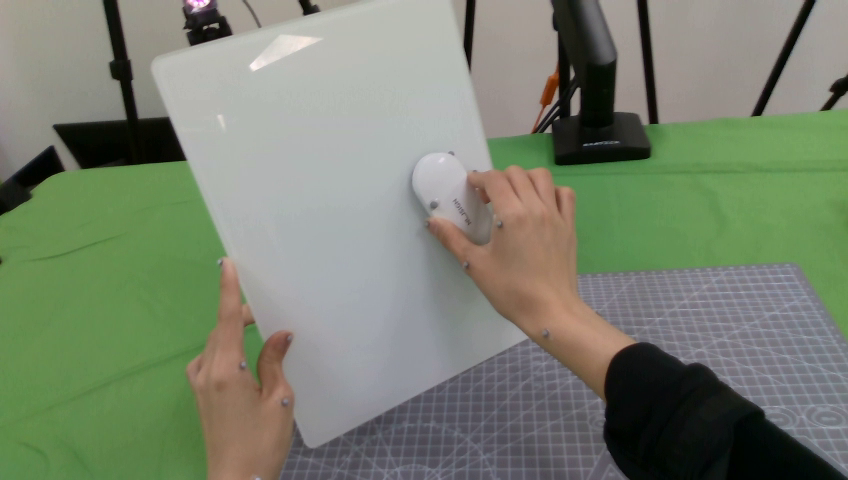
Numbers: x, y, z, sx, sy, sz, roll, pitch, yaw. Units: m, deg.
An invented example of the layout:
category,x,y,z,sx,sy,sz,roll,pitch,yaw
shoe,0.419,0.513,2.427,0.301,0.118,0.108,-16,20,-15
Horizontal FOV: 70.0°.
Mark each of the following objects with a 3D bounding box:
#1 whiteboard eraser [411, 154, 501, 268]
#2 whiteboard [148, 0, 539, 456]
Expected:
category,x,y,z,sx,sy,sz,roll,pitch,yaw
whiteboard eraser,0.026,-0.022,0.474,0.041,0.102,0.018,-40,23,-16
whiteboard,-0.062,-0.023,0.518,0.217,0.307,0.143,-23,17,-17
